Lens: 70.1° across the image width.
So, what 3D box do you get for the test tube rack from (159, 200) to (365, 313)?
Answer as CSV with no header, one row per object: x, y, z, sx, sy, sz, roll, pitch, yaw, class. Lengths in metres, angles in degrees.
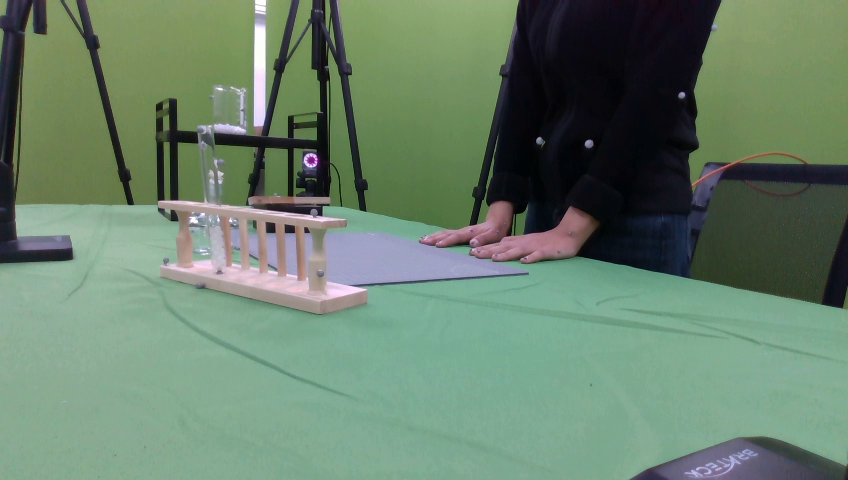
-0.173,0.009,0.624,0.241,0.085,0.067,7,9,34,test tube rack

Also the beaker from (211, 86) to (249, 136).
-0.413,-0.274,1.297,0.074,0.100,0.083,-5,11,-44,beaker

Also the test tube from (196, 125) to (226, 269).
-0.220,-0.043,0.627,0.017,0.150,0.017,-2,10,1,test tube

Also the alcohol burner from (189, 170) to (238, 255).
-0.298,-0.039,0.853,0.078,0.119,0.078,3,6,0,alcohol burner

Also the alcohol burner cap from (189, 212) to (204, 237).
-0.389,-0.029,1.026,0.034,0.048,0.034,3,8,0,alcohol burner cap

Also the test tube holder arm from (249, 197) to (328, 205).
-0.253,-0.075,1.147,0.013,0.015,0.179,5,6,38,test tube holder arm

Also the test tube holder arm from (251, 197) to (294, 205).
-0.277,-0.072,1.108,0.010,0.015,0.088,6,7,39,test tube holder arm
